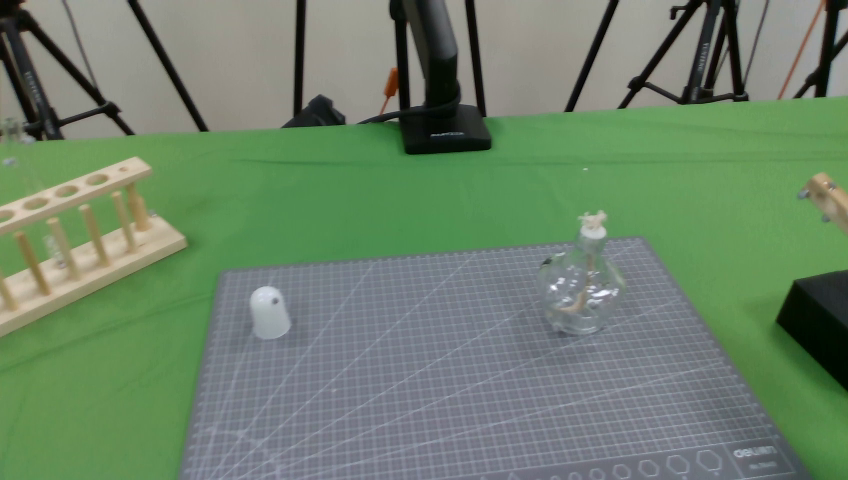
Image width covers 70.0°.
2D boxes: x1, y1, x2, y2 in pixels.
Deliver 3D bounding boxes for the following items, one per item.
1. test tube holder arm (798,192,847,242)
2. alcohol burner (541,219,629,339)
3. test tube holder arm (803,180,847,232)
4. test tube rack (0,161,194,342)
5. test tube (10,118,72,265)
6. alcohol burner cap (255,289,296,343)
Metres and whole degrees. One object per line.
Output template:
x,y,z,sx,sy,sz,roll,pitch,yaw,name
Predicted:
0.333,0.026,0.416,0.015,0.013,0.176,-30,62,-9,test tube holder arm
0.143,0.029,0.530,0.078,0.120,0.077,1,39,0,alcohol burner
0.310,-0.009,0.432,0.015,0.010,0.087,-30,60,-9,test tube holder arm
-0.354,0.015,0.573,0.066,0.086,0.242,30,46,34,test tube rack
-0.353,-0.040,0.564,0.017,0.151,0.017,2,32,-1,test tube
-0.134,0.065,0.540,0.034,0.048,0.033,0,37,0,alcohol burner cap
